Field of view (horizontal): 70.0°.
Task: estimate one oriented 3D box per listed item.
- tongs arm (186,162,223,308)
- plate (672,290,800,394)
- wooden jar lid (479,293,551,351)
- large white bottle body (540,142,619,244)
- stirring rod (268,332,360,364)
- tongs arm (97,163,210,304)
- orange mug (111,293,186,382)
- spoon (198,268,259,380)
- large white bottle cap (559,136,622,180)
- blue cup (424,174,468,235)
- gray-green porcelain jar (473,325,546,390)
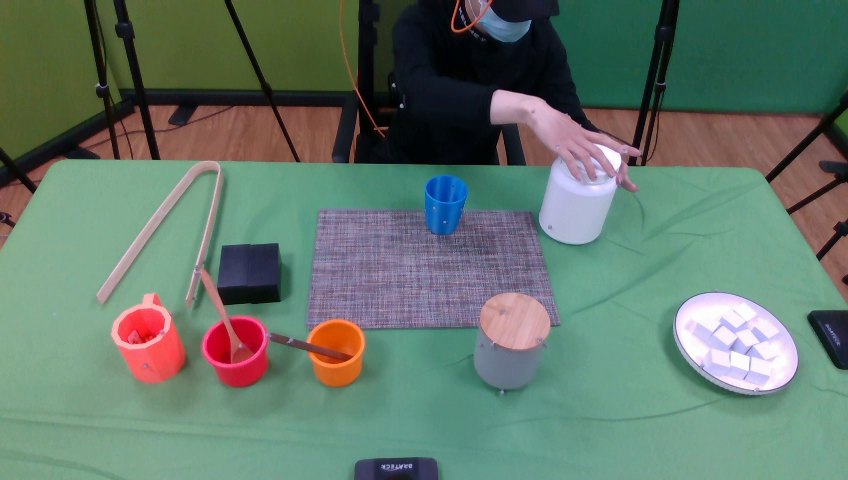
[{"bbox_3d":[-0.436,-0.024,1.181,0.051,0.026,0.382,-2,45,0],"label":"tongs arm"},{"bbox_3d":[0.533,0.178,1.050,0.208,0.039,0.206,2,46,-2],"label":"plate"},{"bbox_3d":[0.138,0.127,0.925,0.108,0.021,0.107,1,47,-1],"label":"wooden jar lid"},{"bbox_3d":[0.308,-0.096,1.197,0.131,0.185,0.130,2,46,-2],"label":"large white bottle body"},{"bbox_3d":[-0.167,0.169,0.942,0.177,0.006,0.014,26,26,-41],"label":"stirring rod"},{"bbox_3d":[-0.520,-0.028,1.183,0.028,0.028,0.385,5,45,12],"label":"tongs arm"},{"bbox_3d":[-0.435,0.149,0.969,0.083,0.101,0.125,-5,51,-8],"label":"orange mug"},{"bbox_3d":[-0.312,0.132,0.962,0.041,0.021,0.194,-24,96,-22],"label":"spoon"},{"bbox_3d":[0.312,-0.155,1.136,0.115,0.018,0.114,3,46,-3],"label":"large white bottle cap"},{"bbox_3d":[0.039,-0.065,1.201,0.093,0.101,0.092,3,47,-3],"label":"blue cup"},{"bbox_3d":[0.135,0.170,0.969,0.106,0.127,0.105,2,46,-2],"label":"gray-green porcelain jar"}]
